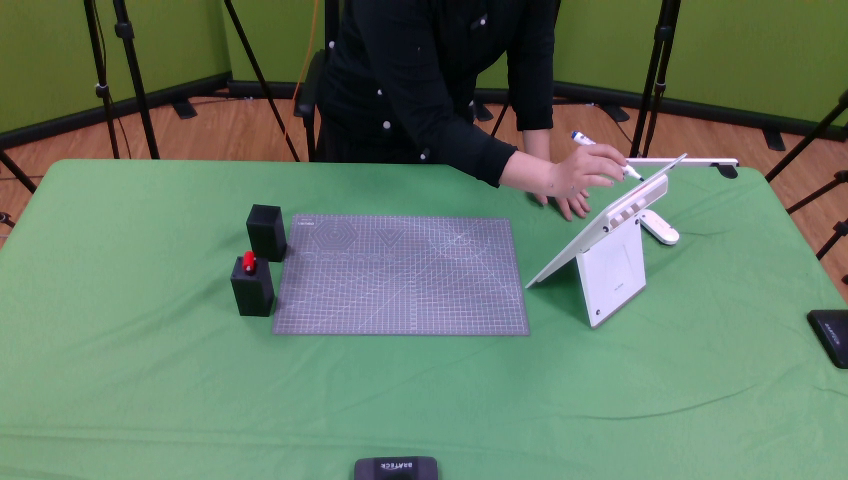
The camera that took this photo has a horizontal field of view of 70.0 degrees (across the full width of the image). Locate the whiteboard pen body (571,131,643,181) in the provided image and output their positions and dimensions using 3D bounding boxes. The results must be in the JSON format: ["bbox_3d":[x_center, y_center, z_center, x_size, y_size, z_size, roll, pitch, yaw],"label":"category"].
[{"bbox_3d":[0.305,-0.138,1.007,0.140,0.017,0.017,36,52,8],"label":"whiteboard pen body"}]

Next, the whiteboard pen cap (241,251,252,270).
[{"bbox_3d":[-0.294,0.033,1.006,0.017,0.017,0.032,-3,44,-7],"label":"whiteboard pen cap"}]

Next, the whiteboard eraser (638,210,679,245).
[{"bbox_3d":[0.485,-0.026,1.260,0.041,0.019,0.100,-20,50,-21],"label":"whiteboard eraser"}]

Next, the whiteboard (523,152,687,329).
[{"bbox_3d":[0.346,0.025,1.046,0.217,0.306,0.143,-30,74,-29],"label":"whiteboard"}]
